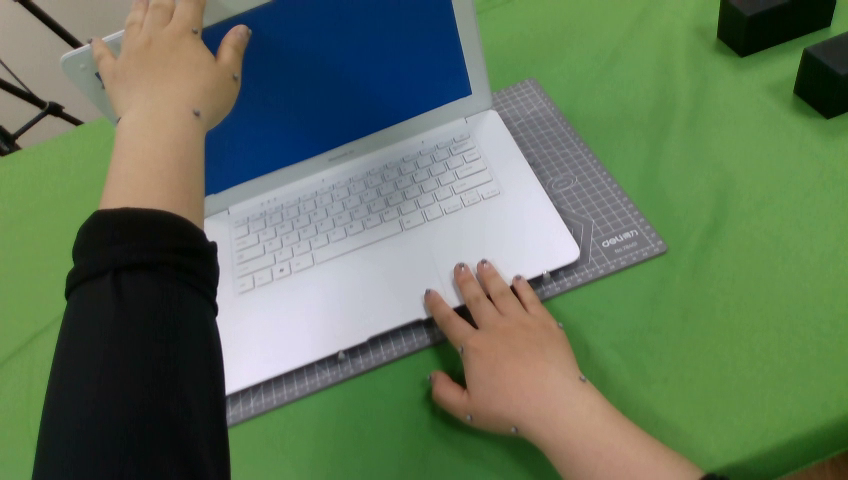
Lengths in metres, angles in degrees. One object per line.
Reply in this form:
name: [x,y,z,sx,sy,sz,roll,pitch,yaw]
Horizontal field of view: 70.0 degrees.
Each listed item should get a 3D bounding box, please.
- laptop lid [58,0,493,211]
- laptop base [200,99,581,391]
laptop lid: [-0.112,-0.158,0.583,0.357,0.244,0.013,-22,55,2]
laptop base: [-0.053,-0.009,0.602,0.354,0.023,0.233,-21,51,1]
